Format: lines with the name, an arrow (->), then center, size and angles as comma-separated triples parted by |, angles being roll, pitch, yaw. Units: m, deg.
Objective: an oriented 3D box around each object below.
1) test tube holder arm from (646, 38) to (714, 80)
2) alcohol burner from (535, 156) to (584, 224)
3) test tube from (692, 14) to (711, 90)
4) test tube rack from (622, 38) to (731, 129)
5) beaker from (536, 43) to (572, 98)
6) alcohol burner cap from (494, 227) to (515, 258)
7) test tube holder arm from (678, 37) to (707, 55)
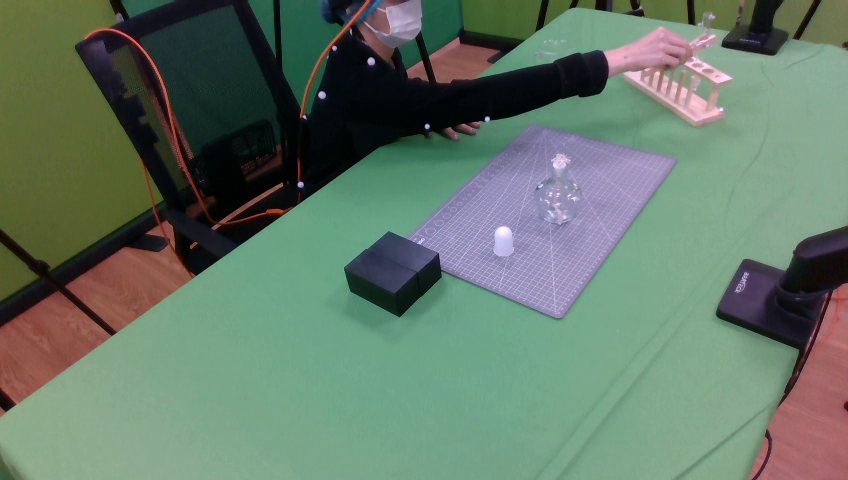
test tube holder arm -> 0.475, -0.337, 1.119 | 0.179, 0.015, 0.013 | -31, 36, -21
alcohol burner -> 0.217, -0.085, 0.967 | 0.078, 0.119, 0.077 | -3, 41, 3
test tube -> 0.530, -0.358, 1.160 | 0.017, 0.151, 0.017 | -6, 42, 6
test tube rack -> 0.506, -0.325, 1.234 | 0.067, 0.085, 0.240 | -18, 41, -11
beaker -> 0.281, -0.368, 1.311 | 0.074, 0.101, 0.084 | 4, 41, 14
alcohol burner cap -> 0.124, 0.001, 0.936 | 0.034, 0.048, 0.033 | -4, 40, 4
test tube holder arm -> 0.507, -0.361, 1.141 | 0.088, 0.015, 0.010 | -35, 38, -26
